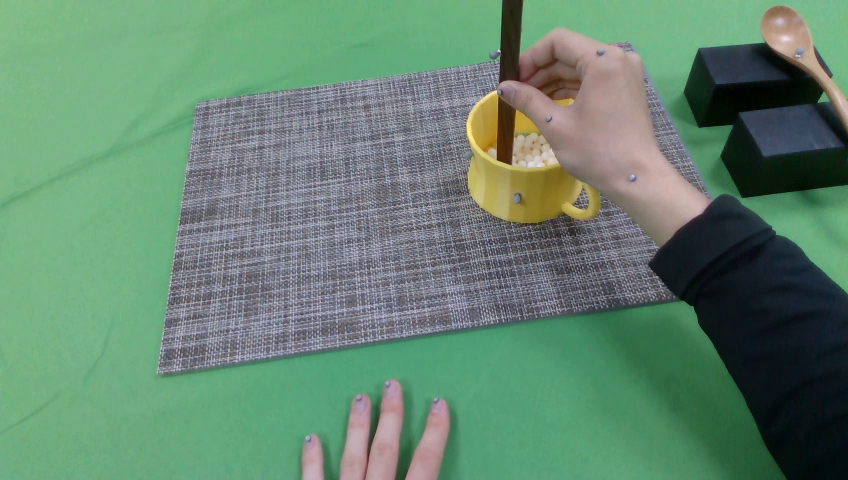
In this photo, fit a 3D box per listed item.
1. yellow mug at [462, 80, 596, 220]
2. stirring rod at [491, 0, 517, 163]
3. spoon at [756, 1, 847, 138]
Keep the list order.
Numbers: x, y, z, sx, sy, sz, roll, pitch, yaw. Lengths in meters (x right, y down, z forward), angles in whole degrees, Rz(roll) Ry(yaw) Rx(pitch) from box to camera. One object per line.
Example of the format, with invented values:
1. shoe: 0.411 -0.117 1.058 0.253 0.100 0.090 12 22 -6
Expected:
1. yellow mug: 0.092 -0.066 0.497 0.100 0.064 0.129 -34 60 -19
2. stirring rod: 0.058 -0.109 0.453 0.014 0.178 0.006 15 59 14
3. spoon: 0.322 -0.126 0.492 0.041 0.022 0.192 -8 57 -2
